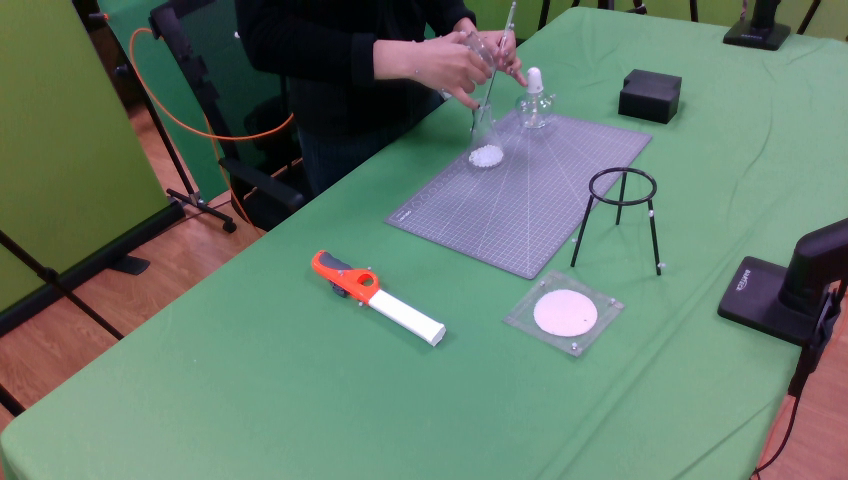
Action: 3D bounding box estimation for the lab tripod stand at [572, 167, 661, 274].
[{"bbox_3d":[0.284,-0.030,0.879,0.148,0.132,0.147,-7,38,6],"label":"lab tripod stand"}]

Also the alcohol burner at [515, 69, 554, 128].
[{"bbox_3d":[0.221,-0.285,1.203,0.078,0.119,0.077,-4,39,4],"label":"alcohol burner"}]

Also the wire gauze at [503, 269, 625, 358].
[{"bbox_3d":[0.194,0.100,0.840,0.120,0.011,0.125,27,54,36],"label":"wire gauze"}]

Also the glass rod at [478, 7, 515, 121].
[{"bbox_3d":[0.126,-0.304,1.058,0.008,0.200,0.008,14,21,-5],"label":"glass rod"}]

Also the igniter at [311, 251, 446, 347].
[{"bbox_3d":[-0.078,0.081,0.899,0.274,0.025,0.057,27,62,35],"label":"igniter"}]

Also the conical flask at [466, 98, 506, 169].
[{"bbox_3d":[0.111,-0.199,1.116,0.075,0.122,0.075,-5,40,5],"label":"conical flask"}]

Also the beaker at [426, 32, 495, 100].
[{"bbox_3d":[0.061,-0.293,1.035,0.100,0.084,0.073,-34,37,2],"label":"beaker"}]

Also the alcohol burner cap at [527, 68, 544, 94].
[{"bbox_3d":[0.216,-0.312,1.179,0.034,0.048,0.033,-9,40,8],"label":"alcohol burner cap"}]
